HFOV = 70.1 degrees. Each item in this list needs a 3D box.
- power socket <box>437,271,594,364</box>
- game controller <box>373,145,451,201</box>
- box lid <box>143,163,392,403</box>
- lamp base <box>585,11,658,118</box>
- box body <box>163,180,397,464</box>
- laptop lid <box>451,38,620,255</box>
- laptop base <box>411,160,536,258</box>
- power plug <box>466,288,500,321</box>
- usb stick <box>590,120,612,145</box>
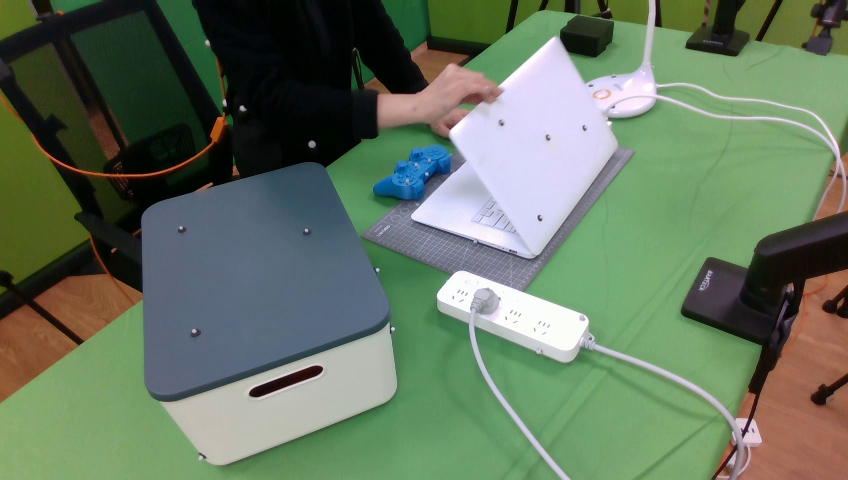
[{"bbox_3d":[0.118,0.102,0.830,0.225,0.033,0.072,20,48,28],"label":"power socket"},{"bbox_3d":[-0.018,-0.130,1.111,0.096,0.052,0.155,21,48,26],"label":"game controller"},{"bbox_3d":[-0.212,0.025,0.753,0.264,0.015,0.368,-18,41,-13],"label":"box lid"},{"bbox_3d":[0.406,-0.363,1.223,0.180,0.181,0.159,-20,42,-18],"label":"lamp base"},{"bbox_3d":[-0.205,0.080,0.802,0.255,0.161,0.361,-18,41,-13],"label":"box body"},{"bbox_3d":[0.200,-0.166,0.983,0.013,0.242,0.357,-20,20,50],"label":"laptop lid"},{"bbox_3d":[0.167,-0.102,1.074,0.234,0.023,0.355,16,45,30],"label":"laptop base"},{"bbox_3d":[0.072,0.093,0.813,0.073,0.053,0.035,-37,49,-28],"label":"power plug"},{"bbox_3d":[0.334,-0.203,1.148,0.021,0.027,0.059,25,52,27],"label":"usb stick"}]
